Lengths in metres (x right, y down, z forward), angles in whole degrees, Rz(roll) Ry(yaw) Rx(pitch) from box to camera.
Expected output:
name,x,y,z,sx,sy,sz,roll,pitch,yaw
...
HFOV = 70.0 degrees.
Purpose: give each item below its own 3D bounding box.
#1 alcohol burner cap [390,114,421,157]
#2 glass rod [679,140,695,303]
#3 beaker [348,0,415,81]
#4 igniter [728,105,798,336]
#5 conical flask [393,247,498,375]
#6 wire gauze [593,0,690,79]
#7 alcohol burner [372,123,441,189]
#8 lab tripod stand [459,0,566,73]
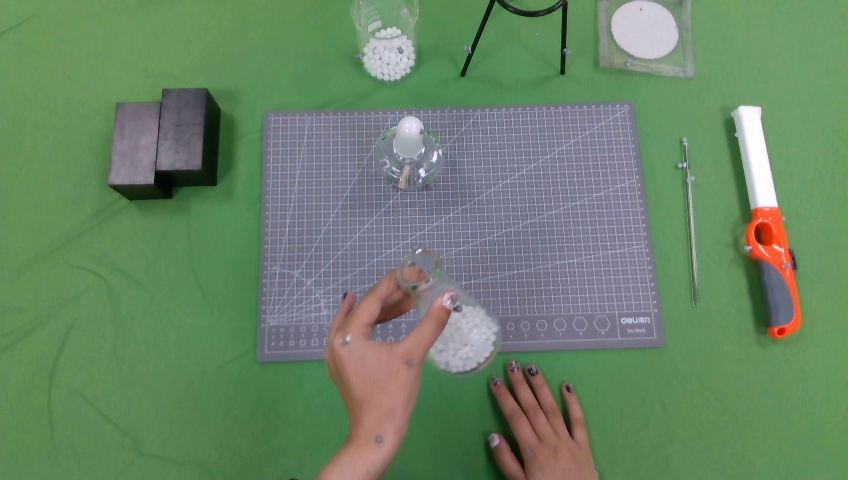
name,x,y,z,sx,sy,sz,roll,pitch,yaw
alcohol burner cap,-0.018,-0.112,0.631,0.034,0.048,0.033,3,68,-8
glass rod,0.307,-0.024,0.709,0.008,0.008,0.198,3,75,-1
beaker,-0.045,-0.241,0.711,0.084,0.100,0.073,-42,80,-11
igniter,0.391,-0.028,0.702,0.057,0.025,0.275,1,76,-12
conical flask,0.013,0.056,0.510,0.075,0.123,0.074,-12,50,15
wire gauze,0.277,-0.267,0.770,0.125,0.011,0.121,5,76,-2
alcohol burner,-0.019,-0.101,0.665,0.078,0.119,0.077,1,74,-3
lab tripod stand,0.107,-0.259,0.700,0.148,0.132,0.147,0,78,-1
